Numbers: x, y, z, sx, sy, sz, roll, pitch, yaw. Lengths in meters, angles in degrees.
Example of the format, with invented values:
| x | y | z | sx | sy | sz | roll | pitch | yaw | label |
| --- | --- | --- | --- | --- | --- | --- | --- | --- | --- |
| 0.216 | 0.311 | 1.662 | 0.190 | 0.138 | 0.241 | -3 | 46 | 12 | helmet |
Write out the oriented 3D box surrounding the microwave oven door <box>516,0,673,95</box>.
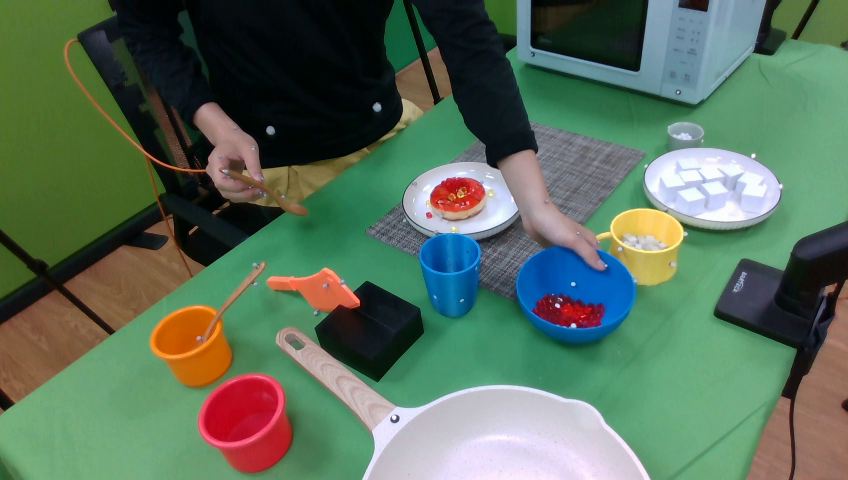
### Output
| x | y | z | sx | sy | sz | roll | pitch | yaw | label |
| --- | --- | --- | --- | --- | --- | --- | --- | --- | --- |
| 0.344 | -0.458 | 1.256 | 0.353 | 0.245 | 0.039 | 26 | 51 | 33 | microwave oven door |

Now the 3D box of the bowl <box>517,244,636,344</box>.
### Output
| x | y | z | sx | sy | sz | roll | pitch | yaw | label |
| --- | --- | --- | --- | --- | --- | --- | --- | --- | --- |
| 0.199 | 0.084 | 0.800 | 0.151 | 0.077 | 0.150 | -5 | 43 | 5 | bowl |

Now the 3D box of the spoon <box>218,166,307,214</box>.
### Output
| x | y | z | sx | sy | sz | roll | pitch | yaw | label |
| --- | --- | --- | --- | --- | --- | --- | --- | --- | --- |
| -0.238 | -0.075 | 0.903 | 0.041 | 0.195 | 0.021 | 35 | 88 | 29 | spoon |

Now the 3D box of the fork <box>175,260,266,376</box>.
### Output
| x | y | z | sx | sy | sz | roll | pitch | yaw | label |
| --- | --- | --- | --- | --- | --- | --- | --- | --- | --- |
| -0.268 | 0.103 | 0.792 | 0.207 | 0.019 | 0.028 | -51 | 41 | 16 | fork |

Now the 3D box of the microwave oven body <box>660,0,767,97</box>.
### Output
| x | y | z | sx | sy | sz | roll | pitch | yaw | label |
| --- | --- | --- | --- | --- | --- | --- | --- | --- | --- |
| 0.474 | -0.517 | 1.313 | 0.438 | 0.261 | 0.327 | 26 | 51 | 34 | microwave oven body |

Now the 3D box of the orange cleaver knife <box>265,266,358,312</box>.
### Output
| x | y | z | sx | sy | sz | roll | pitch | yaw | label |
| --- | --- | --- | --- | --- | --- | --- | --- | --- | --- |
| -0.164 | 0.073 | 0.864 | 0.210 | 0.077 | 0.012 | -6 | 30 | 50 | orange cleaver knife |

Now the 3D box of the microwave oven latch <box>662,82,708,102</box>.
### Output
| x | y | z | sx | sy | sz | roll | pitch | yaw | label |
| --- | --- | --- | --- | --- | --- | --- | --- | --- | --- |
| 0.518 | -0.298 | 1.203 | 0.078 | 0.029 | 0.030 | 28 | 53 | 35 | microwave oven latch |

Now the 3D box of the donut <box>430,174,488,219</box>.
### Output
| x | y | z | sx | sy | sz | roll | pitch | yaw | label |
| --- | --- | --- | --- | --- | --- | --- | --- | --- | --- |
| 0.058 | -0.075 | 1.015 | 0.099 | 0.048 | 0.098 | -6 | 38 | 5 | donut |

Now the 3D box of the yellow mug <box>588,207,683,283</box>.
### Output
| x | y | z | sx | sy | sz | roll | pitch | yaw | label |
| --- | --- | --- | --- | --- | --- | --- | --- | --- | --- |
| 0.305 | 0.009 | 0.885 | 0.131 | 0.064 | 0.099 | -4 | 42 | 5 | yellow mug |

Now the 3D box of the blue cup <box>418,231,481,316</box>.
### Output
| x | y | z | sx | sy | sz | roll | pitch | yaw | label |
| --- | --- | --- | --- | --- | --- | --- | --- | --- | --- |
| 0.040 | 0.053 | 0.843 | 0.092 | 0.100 | 0.092 | -4 | 43 | 4 | blue cup |

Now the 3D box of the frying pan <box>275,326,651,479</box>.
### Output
| x | y | z | sx | sy | sz | roll | pitch | yaw | label |
| --- | --- | --- | --- | --- | --- | --- | --- | --- | --- |
| 0.004 | 0.229 | 0.641 | 0.484 | 0.103 | 0.308 | 34 | 54 | 28 | frying pan |

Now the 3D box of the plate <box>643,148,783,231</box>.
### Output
| x | y | z | sx | sy | sz | roll | pitch | yaw | label |
| --- | --- | --- | --- | --- | --- | --- | --- | --- | --- |
| 0.464 | -0.079 | 0.985 | 0.207 | 0.039 | 0.206 | -4 | 40 | 4 | plate |

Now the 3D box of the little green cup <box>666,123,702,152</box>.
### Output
| x | y | z | sx | sy | sz | roll | pitch | yaw | label |
| --- | --- | --- | --- | --- | --- | --- | --- | --- | --- |
| 0.472 | -0.183 | 1.102 | 0.061 | 0.039 | 0.061 | -5 | 41 | 5 | little green cup |

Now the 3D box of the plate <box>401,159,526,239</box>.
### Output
| x | y | z | sx | sy | sz | roll | pitch | yaw | label |
| --- | --- | --- | --- | --- | --- | --- | --- | --- | --- |
| 0.067 | -0.065 | 1.019 | 0.209 | 0.038 | 0.208 | -4 | 40 | 4 | plate |
